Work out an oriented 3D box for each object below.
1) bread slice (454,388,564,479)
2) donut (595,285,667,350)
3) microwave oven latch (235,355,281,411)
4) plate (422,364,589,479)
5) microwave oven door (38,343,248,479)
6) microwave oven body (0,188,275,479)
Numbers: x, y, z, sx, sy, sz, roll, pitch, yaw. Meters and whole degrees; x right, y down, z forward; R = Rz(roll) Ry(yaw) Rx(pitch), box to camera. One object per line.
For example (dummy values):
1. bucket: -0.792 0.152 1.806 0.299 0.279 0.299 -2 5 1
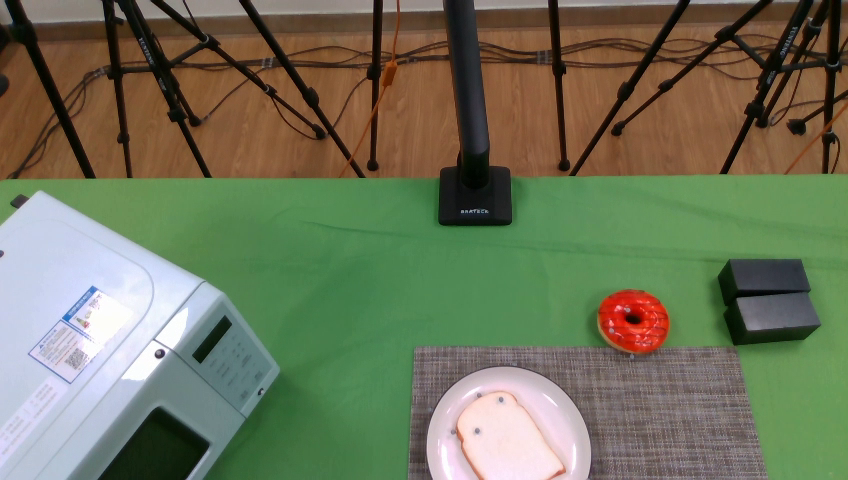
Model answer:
1. bread slice: 0.100 0.257 0.778 0.105 0.019 0.130 -26 60 -13
2. donut: 0.292 0.110 0.854 0.099 0.049 0.098 -4 55 6
3. microwave oven latch: -0.229 0.191 0.825 0.030 0.030 0.079 26 64 18
4. plate: 0.103 0.262 0.773 0.207 0.039 0.205 -2 58 3
5. microwave oven door: -0.347 0.301 0.645 0.039 0.246 0.354 24 63 19
6. microwave oven body: -0.452 0.215 0.711 0.324 0.262 0.440 25 64 18
